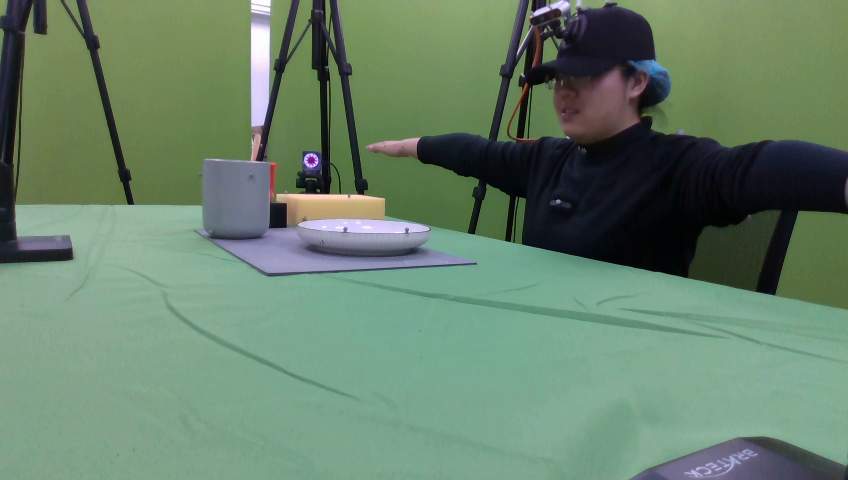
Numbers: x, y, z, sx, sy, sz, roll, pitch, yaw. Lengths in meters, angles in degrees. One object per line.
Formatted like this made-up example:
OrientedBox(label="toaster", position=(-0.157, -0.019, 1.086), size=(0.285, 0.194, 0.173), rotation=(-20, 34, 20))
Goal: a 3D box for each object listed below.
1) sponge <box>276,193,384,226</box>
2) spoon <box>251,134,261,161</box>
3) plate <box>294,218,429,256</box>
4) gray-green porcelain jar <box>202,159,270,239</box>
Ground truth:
OrientedBox(label="sponge", position=(-0.203, -0.067, 1.312), size=(0.208, 0.061, 0.117), rotation=(-3, 9, -35))
OrientedBox(label="spoon", position=(-0.341, -0.152, 1.206), size=(0.042, 0.021, 0.193), rotation=(3, 51, -7))
OrientedBox(label="plate", position=(-0.096, -0.005, 0.936), size=(0.208, 0.039, 0.207), rotation=(3, 7, 0))
OrientedBox(label="gray-green porcelain jar", position=(-0.310, -0.068, 0.999), size=(0.106, 0.126, 0.106), rotation=(3, 8, 0))
